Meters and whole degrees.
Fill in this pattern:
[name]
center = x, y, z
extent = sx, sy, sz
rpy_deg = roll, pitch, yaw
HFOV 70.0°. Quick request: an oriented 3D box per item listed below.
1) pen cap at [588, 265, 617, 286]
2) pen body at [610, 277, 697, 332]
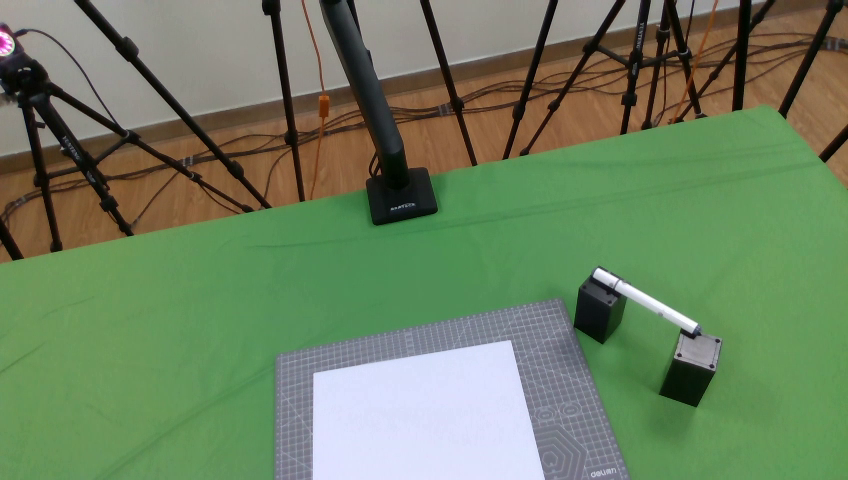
[pen cap]
center = 0.243, 0.048, 0.827
extent = 0.038, 0.017, 0.017
rpy_deg = 32, 62, 30
[pen body]
center = 0.288, 0.077, 0.798
extent = 0.143, 0.017, 0.017
rpy_deg = 33, 62, 29
